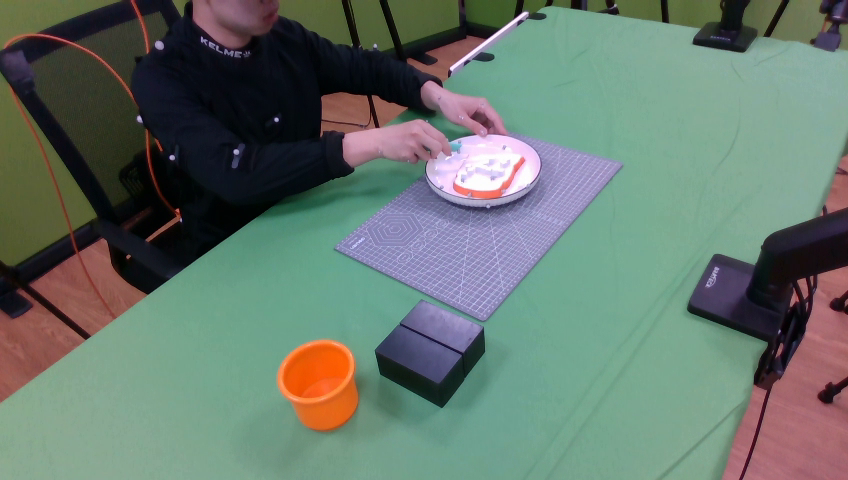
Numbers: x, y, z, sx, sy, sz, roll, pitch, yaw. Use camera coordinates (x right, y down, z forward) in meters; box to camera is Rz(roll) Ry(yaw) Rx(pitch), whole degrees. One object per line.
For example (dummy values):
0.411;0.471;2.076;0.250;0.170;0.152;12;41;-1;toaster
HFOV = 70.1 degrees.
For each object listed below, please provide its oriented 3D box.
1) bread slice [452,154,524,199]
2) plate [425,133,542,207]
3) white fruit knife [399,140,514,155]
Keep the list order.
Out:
0.111;-0.119;1.078;0.104;0.019;0.131;12;43;21;bread slice
0.106;-0.121;1.079;0.209;0.038;0.208;-4;41;4;plate
0.059;-0.165;1.087;0.208;0.027;0.016;3;53;-3;white fruit knife
